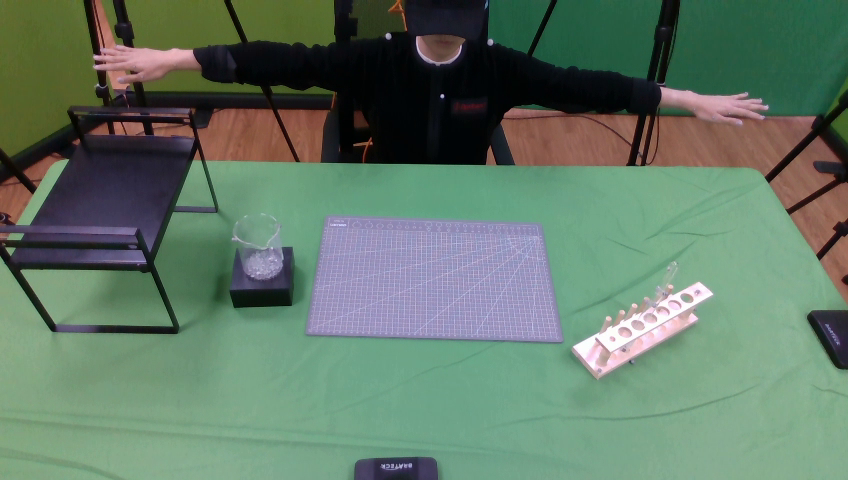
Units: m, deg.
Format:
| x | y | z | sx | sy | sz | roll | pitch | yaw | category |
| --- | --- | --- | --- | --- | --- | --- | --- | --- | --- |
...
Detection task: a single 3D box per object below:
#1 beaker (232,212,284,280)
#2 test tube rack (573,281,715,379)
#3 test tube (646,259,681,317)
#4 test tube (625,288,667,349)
| x | y | z | sx | sy | sz | roll | pitch | yaw | category |
| --- | --- | --- | --- | --- | --- | --- | --- | --- | --- |
| -0.280 | 0.016 | 1.037 | 0.074 | 0.101 | 0.083 | -18 | 50 | -20 | beaker |
| 0.378 | 0.140 | 1.038 | 0.242 | 0.085 | 0.066 | -22 | 51 | -23 | test tube rack |
| 0.406 | 0.083 | 1.033 | 0.017 | 0.151 | 0.017 | 2 | 48 | -1 | test tube |
| 0.355 | 0.130 | 0.976 | 0.017 | 0.151 | 0.017 | 5 | 45 | -5 | test tube |
